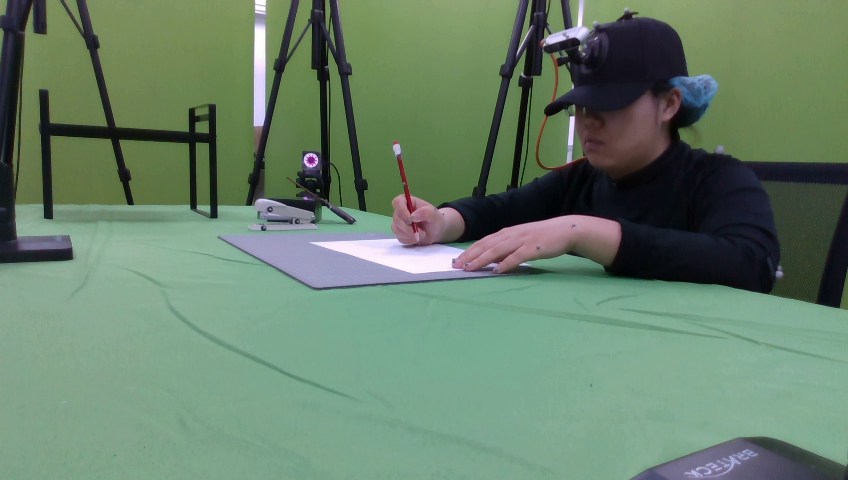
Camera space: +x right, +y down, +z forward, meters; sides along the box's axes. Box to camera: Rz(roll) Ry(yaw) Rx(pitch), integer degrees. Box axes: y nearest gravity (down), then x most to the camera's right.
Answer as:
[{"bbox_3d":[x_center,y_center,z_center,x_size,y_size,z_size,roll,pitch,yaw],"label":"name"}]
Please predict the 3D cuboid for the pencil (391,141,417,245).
[{"bbox_3d":[-0.031,-0.078,0.965,0.012,0.193,0.012,-10,-24,-4],"label":"pencil"}]

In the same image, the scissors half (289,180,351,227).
[{"bbox_3d":[-0.232,-0.085,1.318,0.175,0.013,0.040,38,21,4],"label":"scissors half"}]

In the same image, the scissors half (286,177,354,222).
[{"bbox_3d":[-0.229,-0.091,1.337,0.175,0.013,0.040,33,16,-13],"label":"scissors half"}]

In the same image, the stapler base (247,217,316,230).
[{"bbox_3d":[-0.276,-0.033,1.172,0.131,0.024,0.041,0,10,-37],"label":"stapler base"}]

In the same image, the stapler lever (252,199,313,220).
[{"bbox_3d":[-0.273,-0.058,1.170,0.119,0.040,0.026,0,10,-37],"label":"stapler lever"}]
